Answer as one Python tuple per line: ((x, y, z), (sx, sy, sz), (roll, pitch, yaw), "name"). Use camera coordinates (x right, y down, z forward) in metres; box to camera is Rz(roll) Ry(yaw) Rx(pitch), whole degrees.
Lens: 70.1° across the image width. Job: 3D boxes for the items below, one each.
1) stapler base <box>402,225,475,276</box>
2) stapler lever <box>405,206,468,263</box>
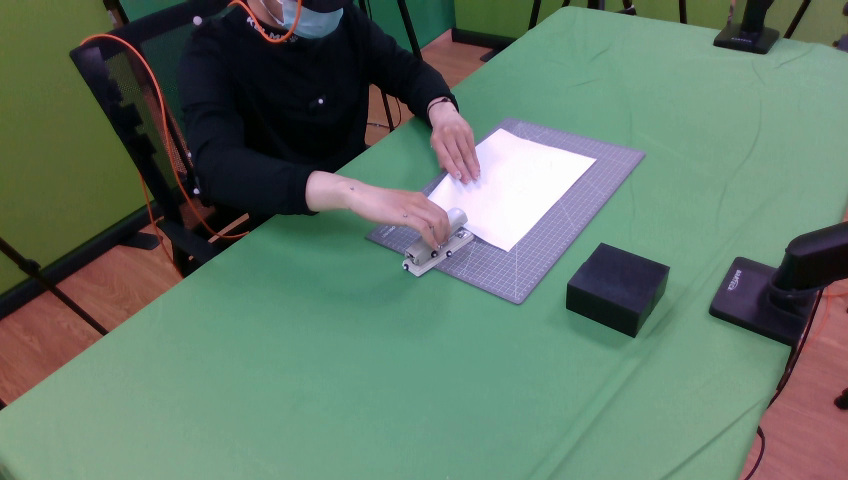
((0.024, 0.008, 0.953), (0.131, 0.024, 0.041), (-35, 45, -26), "stapler base")
((0.020, -0.010, 0.935), (0.118, 0.040, 0.026), (-35, 45, -26), "stapler lever")
